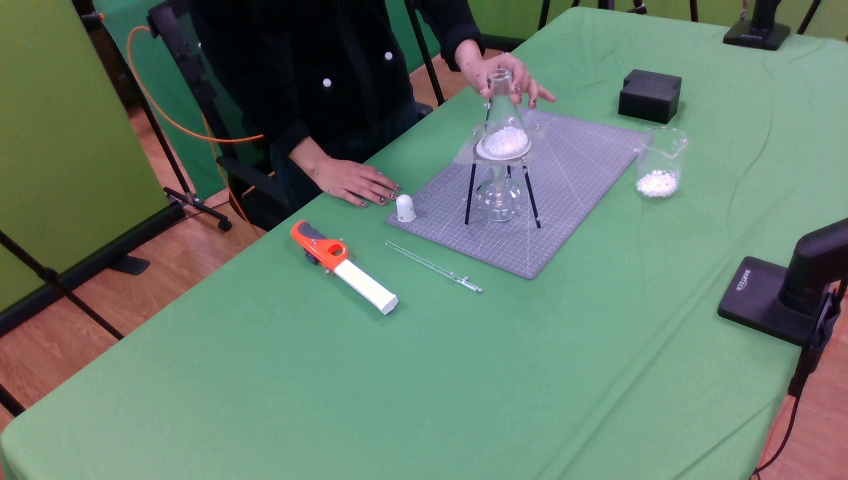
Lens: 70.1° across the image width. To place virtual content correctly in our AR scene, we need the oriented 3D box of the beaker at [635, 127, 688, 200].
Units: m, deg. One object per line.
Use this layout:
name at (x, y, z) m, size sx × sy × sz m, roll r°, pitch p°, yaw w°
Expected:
beaker at (0.388, -0.122, 0.994) m, size 0.074 × 0.101 × 0.083 m, roll -8°, pitch 41°, yaw 2°

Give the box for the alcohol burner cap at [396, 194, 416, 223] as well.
alcohol burner cap at (-0.033, -0.056, 1.036) m, size 0.034 × 0.048 × 0.033 m, roll -6°, pitch 40°, yaw 6°

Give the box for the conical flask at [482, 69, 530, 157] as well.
conical flask at (0.117, -0.191, 0.902) m, size 0.075 × 0.122 × 0.075 m, roll -8°, pitch 39°, yaw 7°

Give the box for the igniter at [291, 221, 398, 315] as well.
igniter at (-0.136, 0.037, 0.962) m, size 0.057 × 0.025 × 0.274 m, roll -41°, pitch 48°, yaw -18°

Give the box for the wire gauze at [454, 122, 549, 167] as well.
wire gauze at (0.122, -0.149, 0.942) m, size 0.121 × 0.011 × 0.125 m, roll 6°, pitch 44°, yaw 22°

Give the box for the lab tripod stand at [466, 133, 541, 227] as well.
lab tripod stand at (0.130, -0.099, 0.985) m, size 0.148 × 0.132 × 0.147 m, roll -6°, pitch 38°, yaw 6°

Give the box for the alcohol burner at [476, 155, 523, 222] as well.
alcohol burner at (0.123, -0.089, 0.990) m, size 0.078 × 0.120 × 0.077 m, roll -6°, pitch 41°, yaw 6°

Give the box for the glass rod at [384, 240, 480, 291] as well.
glass rod at (0.009, 0.037, 0.949) m, size 0.198 × 0.008 × 0.008 m, roll 26°, pitch 52°, yaw 34°
